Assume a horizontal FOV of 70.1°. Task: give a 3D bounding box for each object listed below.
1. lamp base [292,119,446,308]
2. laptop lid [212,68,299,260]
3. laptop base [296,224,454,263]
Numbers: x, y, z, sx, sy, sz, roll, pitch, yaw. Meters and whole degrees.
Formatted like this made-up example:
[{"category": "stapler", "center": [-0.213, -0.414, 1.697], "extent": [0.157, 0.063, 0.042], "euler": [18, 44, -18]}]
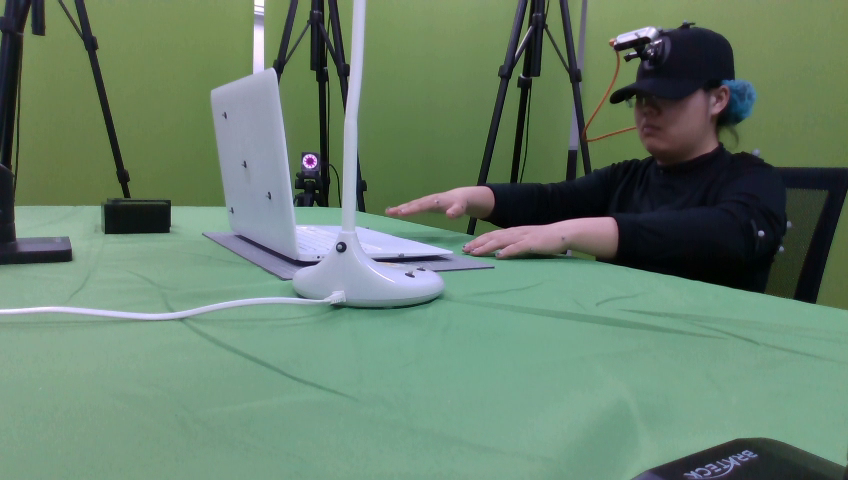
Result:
[{"category": "lamp base", "center": [-0.056, -0.030, 0.616], "extent": [0.160, 0.180, 0.179], "euler": [3, 10, 8]}, {"category": "laptop lid", "center": [-0.254, -0.111, 0.872], "extent": [0.013, 0.241, 0.355], "euler": [-11, 14, -30]}, {"category": "laptop base", "center": [-0.143, 0.003, 0.957], "extent": [0.237, 0.023, 0.352], "euler": [2, 6, -32]}]
